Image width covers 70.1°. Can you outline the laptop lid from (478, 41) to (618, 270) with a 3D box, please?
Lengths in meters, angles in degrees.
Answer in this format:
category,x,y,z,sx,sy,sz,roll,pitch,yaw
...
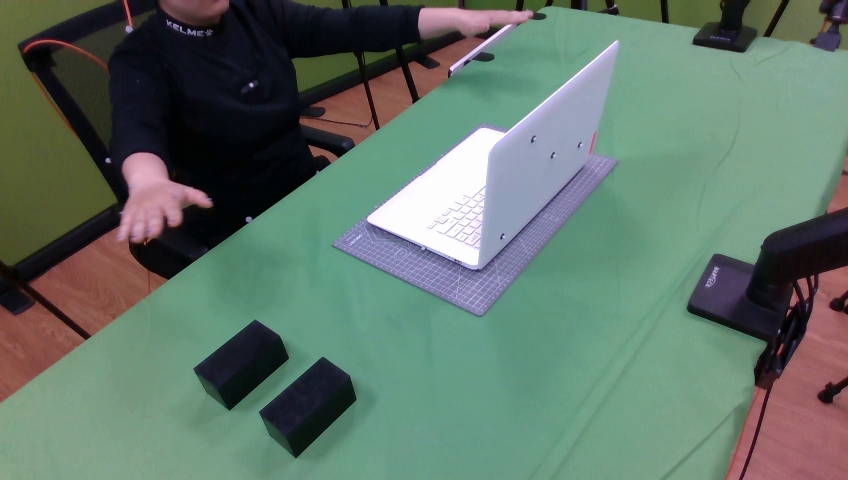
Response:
category,x,y,z,sx,sy,sz,roll,pitch,yaw
laptop lid,0.191,-0.130,0.912,0.013,0.242,0.358,29,50,26

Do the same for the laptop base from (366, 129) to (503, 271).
category,x,y,z,sx,sy,sz,roll,pitch,yaw
laptop base,0.099,-0.085,1.059,0.233,0.023,0.355,21,48,34
